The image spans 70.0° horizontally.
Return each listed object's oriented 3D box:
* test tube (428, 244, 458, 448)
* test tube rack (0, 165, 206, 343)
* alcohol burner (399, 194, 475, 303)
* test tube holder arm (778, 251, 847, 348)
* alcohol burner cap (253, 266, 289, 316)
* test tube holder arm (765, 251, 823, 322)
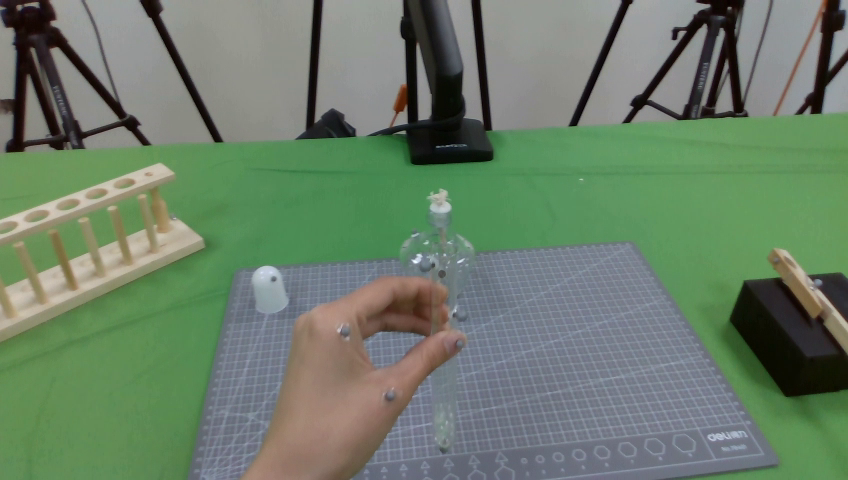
[{"bbox_3d":[0.012,0.068,0.351,0.017,0.151,0.017,-1,33,1],"label":"test tube"},{"bbox_3d":[-0.357,0.012,0.616,0.066,0.086,0.242,30,45,35],"label":"test tube rack"},{"bbox_3d":[0.014,0.004,0.601,0.078,0.120,0.077,1,37,-1],"label":"alcohol burner"},{"bbox_3d":[0.350,0.068,0.520,0.013,0.015,0.176,-3,37,-5],"label":"test tube holder arm"},{"bbox_3d":[-0.153,0.048,0.601,0.034,0.048,0.033,1,36,0],"label":"alcohol burner cap"},{"bbox_3d":[0.341,0.041,0.555,0.010,0.015,0.087,-2,37,-3],"label":"test tube holder arm"}]
